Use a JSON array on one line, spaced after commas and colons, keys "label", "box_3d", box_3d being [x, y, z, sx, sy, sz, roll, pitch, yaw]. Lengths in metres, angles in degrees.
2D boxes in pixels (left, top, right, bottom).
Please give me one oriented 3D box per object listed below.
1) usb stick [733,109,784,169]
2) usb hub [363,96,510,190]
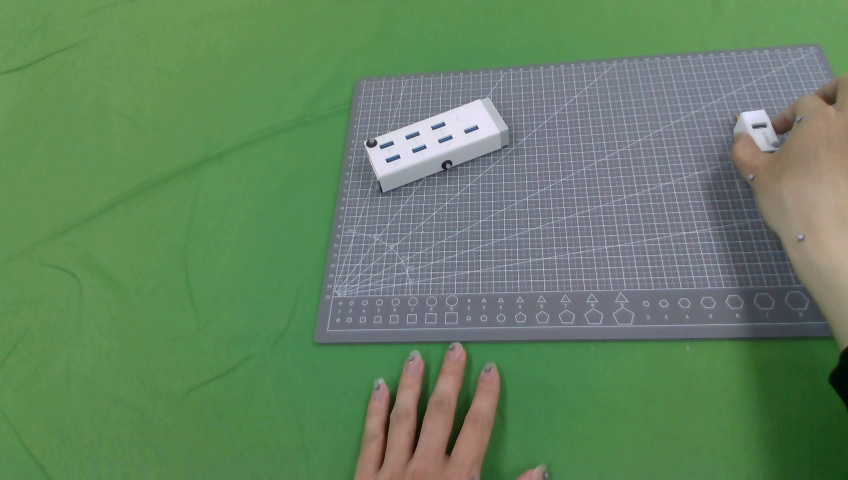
[{"label": "usb stick", "box_3d": [0.277, -0.089, 0.506, 0.021, 0.027, 0.058, -6, 53, 5]}, {"label": "usb hub", "box_3d": [0.011, -0.090, 0.550, 0.125, 0.025, 0.049, -20, 56, -5]}]
